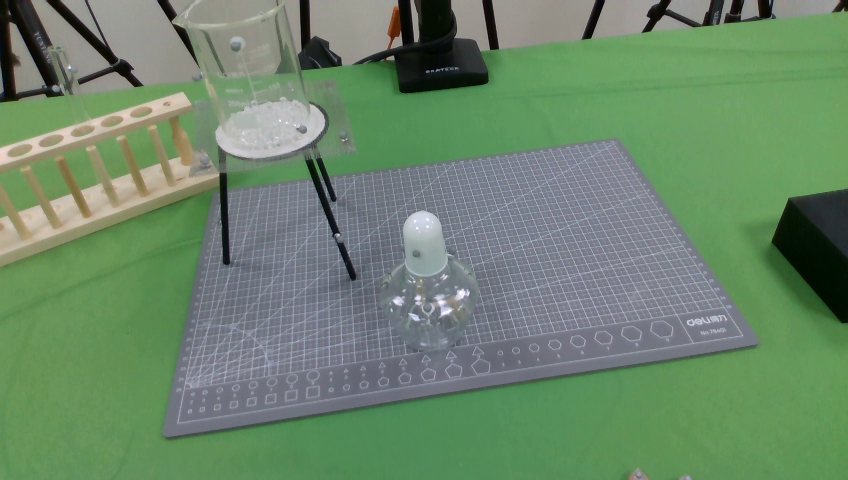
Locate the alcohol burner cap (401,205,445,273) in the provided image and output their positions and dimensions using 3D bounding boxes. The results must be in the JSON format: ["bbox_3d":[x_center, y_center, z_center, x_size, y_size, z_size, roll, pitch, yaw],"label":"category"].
[{"bbox_3d":[-0.003,-0.003,0.434,0.034,0.048,0.033,-3,45,4],"label":"alcohol burner cap"}]

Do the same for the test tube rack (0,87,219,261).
[{"bbox_3d":[-0.343,-0.068,0.614,0.242,0.086,0.066,-25,46,-21],"label":"test tube rack"}]

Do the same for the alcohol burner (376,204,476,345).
[{"bbox_3d":[0.001,0.023,0.458,0.078,0.120,0.077,-2,41,2],"label":"alcohol burner"}]

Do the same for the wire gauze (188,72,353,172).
[{"bbox_3d":[-0.126,-0.096,0.488,0.125,0.011,0.120,-14,41,-5],"label":"wire gauze"}]

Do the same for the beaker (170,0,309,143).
[{"bbox_3d":[-0.132,-0.130,0.453,0.084,0.101,0.073,-7,42,0],"label":"beaker"}]

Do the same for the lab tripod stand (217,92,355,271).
[{"bbox_3d":[-0.122,-0.049,0.533,0.148,0.133,0.147,-3,44,3],"label":"lab tripod stand"}]

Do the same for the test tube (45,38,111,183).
[{"bbox_3d":[-0.339,-0.123,0.599,0.017,0.151,0.017,0,36,1],"label":"test tube"}]
